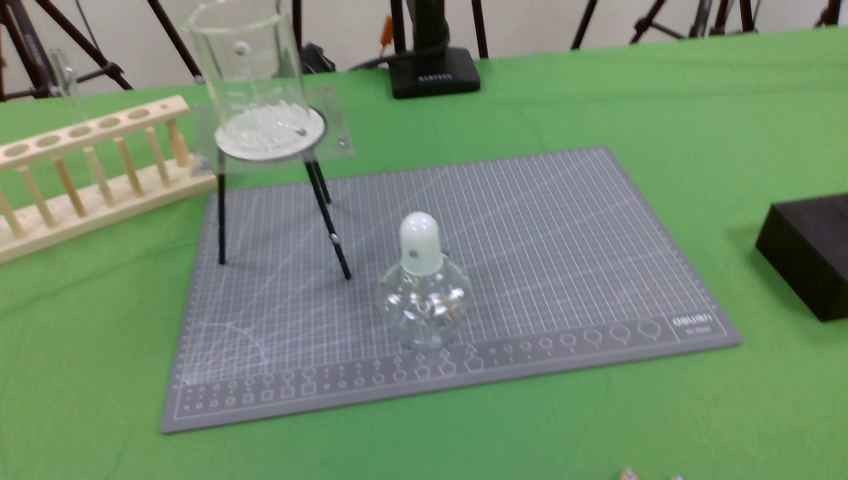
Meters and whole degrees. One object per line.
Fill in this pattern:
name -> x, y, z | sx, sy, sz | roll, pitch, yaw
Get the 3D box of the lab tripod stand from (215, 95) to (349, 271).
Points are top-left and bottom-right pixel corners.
lab tripod stand -> -0.127, -0.048, 0.541 | 0.148, 0.133, 0.147 | -2, 44, 2

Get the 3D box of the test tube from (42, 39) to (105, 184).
test tube -> -0.346, -0.123, 0.602 | 0.017, 0.151, 0.017 | 1, 36, 0

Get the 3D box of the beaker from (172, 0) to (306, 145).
beaker -> -0.135, -0.130, 0.462 | 0.084, 0.101, 0.073 | -6, 42, -1

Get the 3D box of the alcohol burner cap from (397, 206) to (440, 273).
alcohol burner cap -> -0.006, -0.003, 0.445 | 0.034, 0.048, 0.033 | -2, 44, 3

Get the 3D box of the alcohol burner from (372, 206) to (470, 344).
alcohol burner -> -0.003, 0.024, 0.469 | 0.078, 0.120, 0.077 | -1, 40, 2

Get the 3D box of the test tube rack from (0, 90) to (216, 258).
test tube rack -> -0.351, -0.068, 0.617 | 0.243, 0.086, 0.066 | -24, 46, -22

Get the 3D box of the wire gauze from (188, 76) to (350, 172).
wire gauze -> -0.130, -0.096, 0.497 | 0.125, 0.011, 0.120 | -13, 41, -7
